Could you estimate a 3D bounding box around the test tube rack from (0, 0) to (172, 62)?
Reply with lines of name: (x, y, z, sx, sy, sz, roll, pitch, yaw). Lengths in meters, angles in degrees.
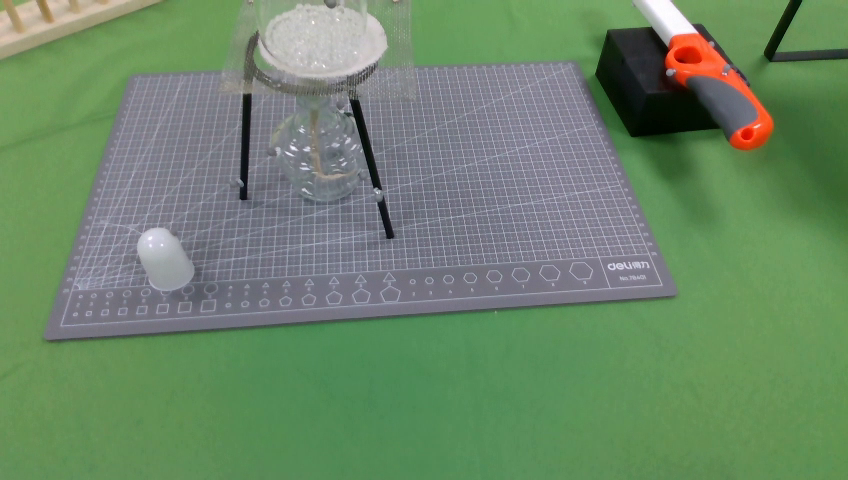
test tube rack: (-0.390, -0.262, 0.621, 0.242, 0.086, 0.066, -35, 60, -27)

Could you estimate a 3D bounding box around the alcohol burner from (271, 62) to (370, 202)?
alcohol burner: (-0.082, -0.086, 0.470, 0.078, 0.120, 0.077, 1, 52, 0)

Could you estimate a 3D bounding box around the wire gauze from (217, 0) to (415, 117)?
wire gauze: (-0.068, -0.133, 0.412, 0.125, 0.011, 0.120, 3, 54, -5)

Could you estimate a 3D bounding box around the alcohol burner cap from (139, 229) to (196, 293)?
alcohol burner cap: (-0.185, 0.012, 0.432, 0.034, 0.048, 0.033, 2, 50, -2)

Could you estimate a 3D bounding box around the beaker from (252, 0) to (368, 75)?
beaker: (-0.070, -0.159, 0.368, 0.074, 0.101, 0.083, -11, 54, -11)

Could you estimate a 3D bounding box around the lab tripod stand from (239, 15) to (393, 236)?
lab tripod stand: (-0.074, -0.085, 0.457, 0.148, 0.132, 0.147, 3, 50, -3)

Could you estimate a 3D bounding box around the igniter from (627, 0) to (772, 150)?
igniter: (0.239, -0.176, 0.556, 0.057, 0.025, 0.273, -7, 49, -5)
